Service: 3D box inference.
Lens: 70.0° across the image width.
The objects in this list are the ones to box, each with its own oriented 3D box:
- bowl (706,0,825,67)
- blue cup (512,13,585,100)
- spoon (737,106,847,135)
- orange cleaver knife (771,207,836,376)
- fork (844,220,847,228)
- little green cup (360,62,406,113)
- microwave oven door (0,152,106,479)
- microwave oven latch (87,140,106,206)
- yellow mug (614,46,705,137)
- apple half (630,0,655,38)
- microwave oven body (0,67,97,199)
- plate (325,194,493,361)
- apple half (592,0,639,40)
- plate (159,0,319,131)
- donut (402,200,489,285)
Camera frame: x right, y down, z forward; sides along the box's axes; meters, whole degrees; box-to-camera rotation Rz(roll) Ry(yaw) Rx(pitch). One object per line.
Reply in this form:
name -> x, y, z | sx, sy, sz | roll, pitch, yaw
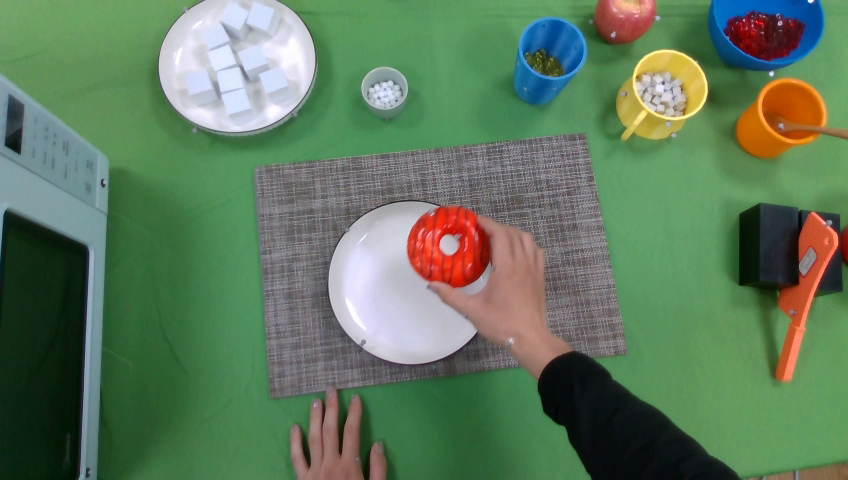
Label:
bowl -> 0.452, -0.297, 0.834 | 0.151, 0.077, 0.150 | 0, 78, -1
blue cup -> 0.155, -0.232, 0.798 | 0.093, 0.100, 0.092 | 1, 79, -3
spoon -> 0.493, -0.143, 0.767 | 0.041, 0.192, 0.022 | -49, 127, -10
orange cleaver knife -> 0.462, 0.066, 0.754 | 0.012, 0.077, 0.212 | 8, 107, 2
fork -> 0.626, 0.015, 0.739 | 0.028, 0.019, 0.205 | -35, 38, -19
little green cup -> -0.054, -0.202, 0.815 | 0.061, 0.039, 0.061 | 0, 78, -2
microwave oven door -> -0.400, 0.108, 0.612 | 0.039, 0.244, 0.354 | -4, 78, -3
microwave oven latch -> -0.416, -0.083, 0.756 | 0.030, 0.029, 0.079 | -2, 79, -3
yellow mug -> 0.304, -0.189, 0.812 | 0.099, 0.064, 0.130 | 41, 81, 7
apple half -> 0.299, -0.319, 0.834 | 0.033, 0.081, 0.081 | -1, 77, 1
microwave oven body -> -0.549, 0.076, 0.618 | 0.326, 0.261, 0.439 | -3, 78, -3
plate -> -0.019, 0.047, 0.759 | 0.209, 0.038, 0.208 | 0, 78, -2
apple half -> 0.259, -0.317, 0.834 | 0.053, 0.075, 0.080 | -1, 81, 1
plate -> -0.245, -0.240, 0.816 | 0.208, 0.039, 0.206 | 1, 78, -2
donut -> 0.025, 0.003, 0.691 | 0.099, 0.048, 0.098 | 1, 79, -4
